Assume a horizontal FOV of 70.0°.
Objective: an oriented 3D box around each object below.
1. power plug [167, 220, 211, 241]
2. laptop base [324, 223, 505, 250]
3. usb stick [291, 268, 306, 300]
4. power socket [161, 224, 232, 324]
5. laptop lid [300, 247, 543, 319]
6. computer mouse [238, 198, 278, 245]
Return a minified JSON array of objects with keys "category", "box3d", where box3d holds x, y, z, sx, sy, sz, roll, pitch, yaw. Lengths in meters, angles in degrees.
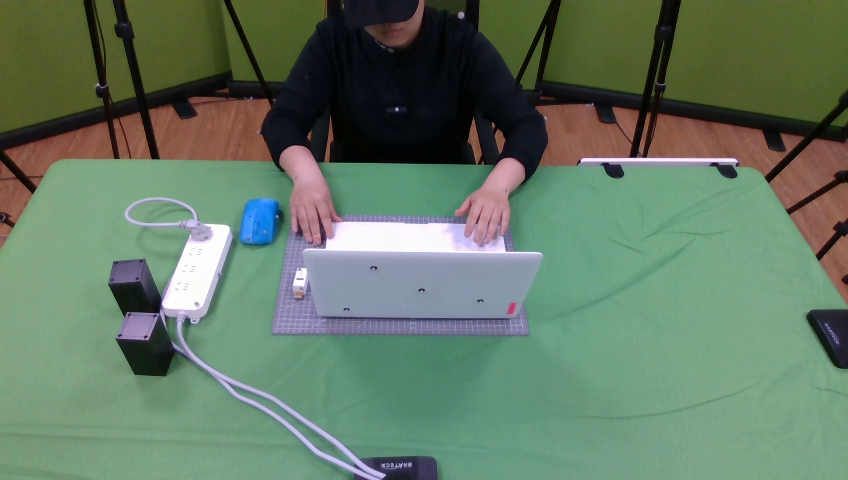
[{"category":"power plug","box3d":[-0.438,-0.017,1.143,0.072,0.053,0.035,9,42,6]},{"category":"laptop base","box3d":[-0.016,0.053,1.145,0.354,0.023,0.234,1,42,-3]},{"category":"usb stick","box3d":[-0.227,0.081,1.093,0.021,0.027,0.059,6,48,-3]},{"category":"power socket","box3d":[-0.412,0.052,1.107,0.072,0.033,0.225,4,46,-1]},{"category":"laptop lid","box3d":[-0.007,0.075,0.963,0.357,0.242,0.013,2,58,-4]},{"category":"computer mouse","box3d":[-0.328,-0.039,1.200,0.063,0.041,0.116,3,50,-4]}]
